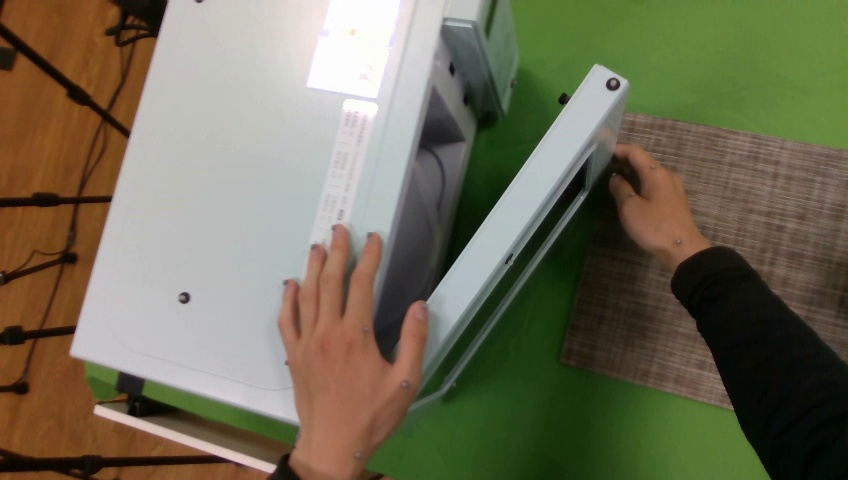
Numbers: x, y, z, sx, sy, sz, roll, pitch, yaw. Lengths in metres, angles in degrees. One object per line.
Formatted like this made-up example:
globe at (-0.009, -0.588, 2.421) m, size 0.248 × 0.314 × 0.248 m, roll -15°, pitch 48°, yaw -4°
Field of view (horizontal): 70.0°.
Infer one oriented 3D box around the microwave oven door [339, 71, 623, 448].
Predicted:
microwave oven door at (0.068, 0.030, 0.587) m, size 0.039 × 0.245 × 0.356 m, roll 36°, pitch 92°, yaw 16°

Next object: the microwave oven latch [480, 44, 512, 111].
microwave oven latch at (0.084, -0.195, 0.715) m, size 0.030 × 0.029 × 0.079 m, roll 13°, pitch 87°, yaw 14°

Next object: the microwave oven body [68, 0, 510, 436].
microwave oven body at (-0.120, -0.066, 0.646) m, size 0.325 × 0.261 × 0.441 m, roll 12°, pitch 87°, yaw 14°
